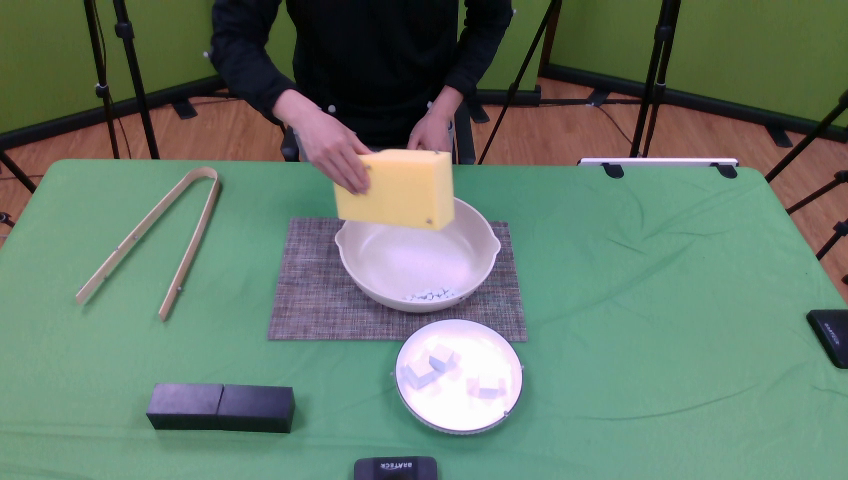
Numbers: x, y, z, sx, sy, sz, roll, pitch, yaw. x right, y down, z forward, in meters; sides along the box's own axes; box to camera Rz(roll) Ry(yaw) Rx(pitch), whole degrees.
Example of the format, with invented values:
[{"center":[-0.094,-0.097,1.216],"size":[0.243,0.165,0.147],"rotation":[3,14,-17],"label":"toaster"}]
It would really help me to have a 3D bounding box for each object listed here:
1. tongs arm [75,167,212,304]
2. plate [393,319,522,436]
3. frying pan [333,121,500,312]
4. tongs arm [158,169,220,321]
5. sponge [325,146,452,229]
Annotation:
[{"center":[-0.525,-0.021,1.167],"size":[0.051,0.026,0.383],"rotation":[13,46,7],"label":"tongs arm"},{"center":[0.053,0.222,0.979],"size":[0.208,0.039,0.206],"rotation":[2,46,-2],"label":"plate"},{"center":[-0.011,-0.063,1.195],"size":[0.307,0.103,0.485],"rotation":[4,55,-2],"label":"frying pan"},{"center":[-0.446,-0.005,1.164],"size":[0.028,0.028,0.385],"rotation":[1,46,0],"label":"tongs arm"},{"center":[-0.060,-0.091,1.022],"size":[0.206,0.118,0.061],"rotation":[7,27,29],"label":"sponge"}]
